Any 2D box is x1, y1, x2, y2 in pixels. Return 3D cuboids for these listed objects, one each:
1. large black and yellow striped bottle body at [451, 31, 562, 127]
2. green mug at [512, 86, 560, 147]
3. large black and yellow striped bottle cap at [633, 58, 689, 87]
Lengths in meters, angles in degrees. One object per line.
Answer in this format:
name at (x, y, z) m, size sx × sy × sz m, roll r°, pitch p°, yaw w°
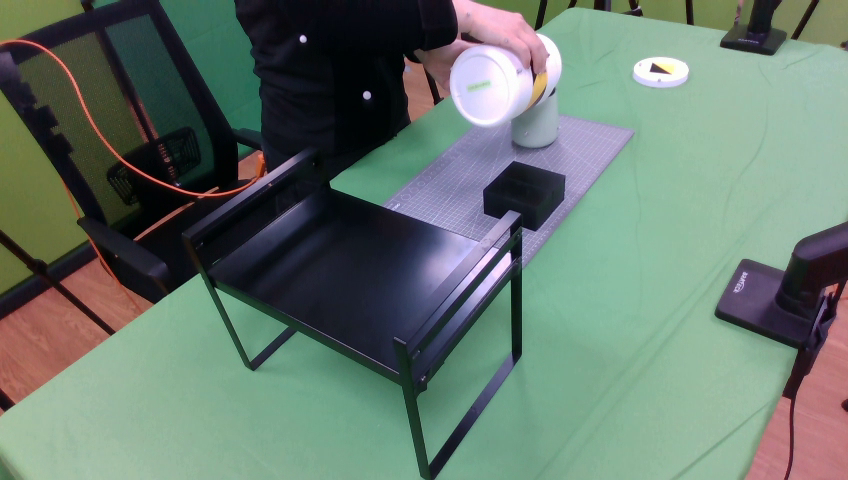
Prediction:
large black and yellow striped bottle body at (0.146, -0.278, 1.023) m, size 0.130 × 0.131 × 0.185 m, roll 22°, pitch 37°, yaw 30°
green mug at (0.217, -0.251, 1.169) m, size 0.092 × 0.105 × 0.125 m, roll 2°, pitch 41°, yaw 12°
large black and yellow striped bottle cap at (0.522, -0.370, 1.331) m, size 0.115 × 0.019 × 0.114 m, roll -3°, pitch 41°, yaw 3°
